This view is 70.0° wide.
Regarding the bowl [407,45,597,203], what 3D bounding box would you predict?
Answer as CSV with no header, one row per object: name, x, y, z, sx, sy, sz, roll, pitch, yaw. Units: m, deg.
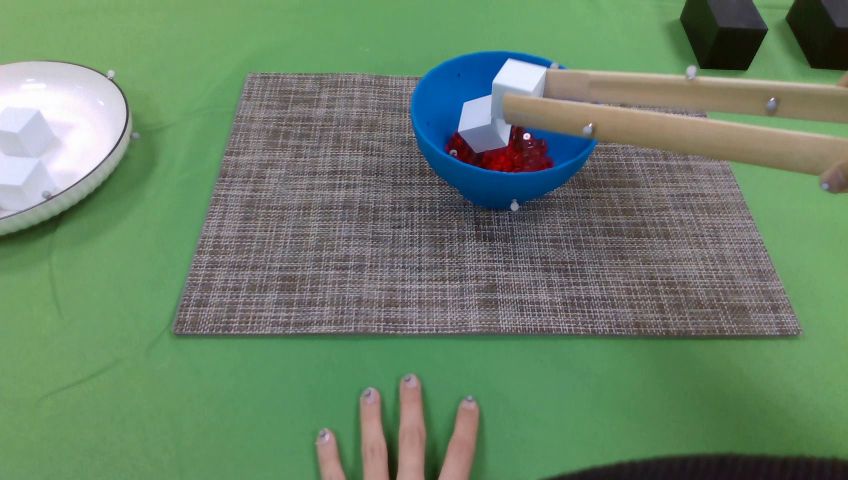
bowl,0.061,-0.083,0.497,0.151,0.077,0.150,1,52,-1

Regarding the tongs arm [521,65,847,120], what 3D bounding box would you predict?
tongs arm,0.228,-0.072,0.351,0.382,0.027,0.050,12,47,29

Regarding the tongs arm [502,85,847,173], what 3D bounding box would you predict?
tongs arm,0.216,-0.058,0.339,0.384,0.028,0.028,16,45,32

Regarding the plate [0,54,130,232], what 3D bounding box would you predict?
plate,-0.355,-0.080,0.509,0.209,0.038,0.207,1,52,-1
